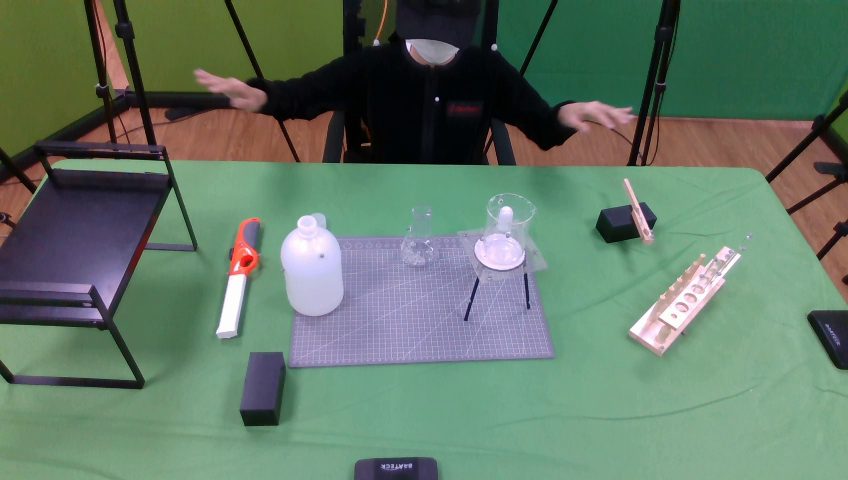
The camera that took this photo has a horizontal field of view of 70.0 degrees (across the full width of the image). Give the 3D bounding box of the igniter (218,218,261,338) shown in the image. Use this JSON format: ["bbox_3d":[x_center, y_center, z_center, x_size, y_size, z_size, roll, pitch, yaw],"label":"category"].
[{"bbox_3d":[-0.336,0.060,1.111,0.057,0.025,0.274,-8,46,4],"label":"igniter"}]

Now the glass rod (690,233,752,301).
[{"bbox_3d":[0.507,0.053,1.041,0.008,0.200,0.008,5,51,-6],"label":"glass rod"}]

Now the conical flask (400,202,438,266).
[{"bbox_3d":[-0.007,-0.014,1.135,0.075,0.122,0.075,2,46,-2],"label":"conical flask"}]

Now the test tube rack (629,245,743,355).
[{"bbox_3d":[0.474,0.095,1.091,0.242,0.085,0.066,-34,56,-31],"label":"test tube rack"}]

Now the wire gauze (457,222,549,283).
[{"bbox_3d":[0.131,0.016,1.017,0.121,0.011,0.124,-10,44,-15],"label":"wire gauze"}]

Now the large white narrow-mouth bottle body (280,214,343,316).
[{"bbox_3d":[-0.190,0.035,1.025,0.102,0.195,0.101,2,46,-2],"label":"large white narrow-mouth bottle body"}]

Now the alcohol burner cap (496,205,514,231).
[{"bbox_3d":[0.153,-0.044,1.131,0.034,0.048,0.033,2,40,-1],"label":"alcohol burner cap"}]

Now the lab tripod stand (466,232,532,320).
[{"bbox_3d":[0.125,0.059,1.065,0.148,0.132,0.147,1,45,0],"label":"lab tripod stand"}]

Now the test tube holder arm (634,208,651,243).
[{"bbox_3d":[0.428,-0.030,1.189,0.010,0.015,0.087,1,47,-2],"label":"test tube holder arm"}]

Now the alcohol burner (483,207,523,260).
[{"bbox_3d":[0.152,-0.018,1.156,0.078,0.120,0.077,0,47,0],"label":"alcohol burner"}]

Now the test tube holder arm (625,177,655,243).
[{"bbox_3d":[0.433,-0.063,1.220,0.013,0.015,0.177,1,47,-3],"label":"test tube holder arm"}]

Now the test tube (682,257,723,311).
[{"bbox_3d":[0.475,0.080,1.037,0.017,0.151,0.017,1,51,-1],"label":"test tube"}]

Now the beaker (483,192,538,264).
[{"bbox_3d":[0.136,-0.017,0.980,0.084,0.101,0.073,-6,45,-9],"label":"beaker"}]

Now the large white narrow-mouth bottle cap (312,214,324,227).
[{"bbox_3d":[-0.219,-0.033,1.214,0.038,0.024,0.037,2,46,-2],"label":"large white narrow-mouth bottle cap"}]
